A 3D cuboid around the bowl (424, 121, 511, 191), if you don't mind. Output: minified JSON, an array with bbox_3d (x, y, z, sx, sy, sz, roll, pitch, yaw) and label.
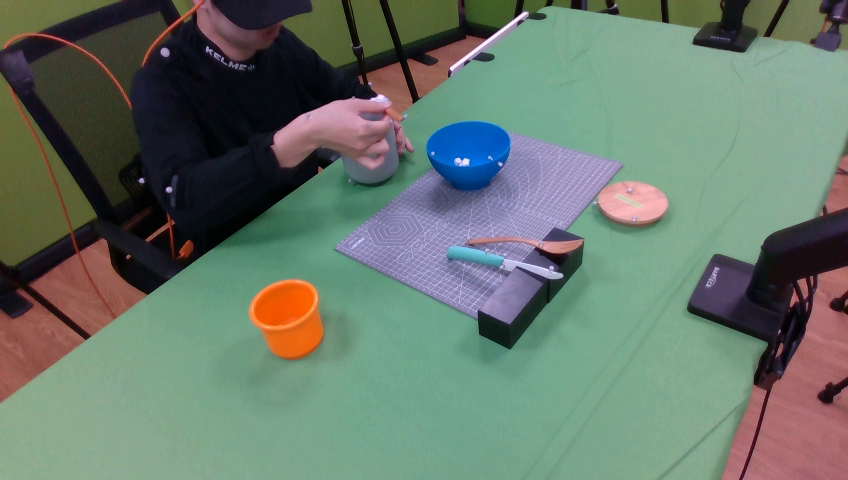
[{"bbox_3d":[0.080,-0.140,1.074,0.151,0.077,0.150,-4,40,4],"label":"bowl"}]

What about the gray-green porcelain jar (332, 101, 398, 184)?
[{"bbox_3d":[-0.104,-0.174,1.108,0.106,0.127,0.105,-4,40,4],"label":"gray-green porcelain jar"}]

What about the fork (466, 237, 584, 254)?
[{"bbox_3d":[0.142,0.005,0.894,0.205,0.019,0.028,4,43,41],"label":"fork"}]

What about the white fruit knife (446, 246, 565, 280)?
[{"bbox_3d":[0.111,0.033,0.868,0.205,0.027,0.016,11,44,40],"label":"white fruit knife"}]

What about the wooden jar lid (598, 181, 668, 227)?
[{"bbox_3d":[0.340,-0.057,0.988,0.108,0.021,0.108,-5,41,5],"label":"wooden jar lid"}]

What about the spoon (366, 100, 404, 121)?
[{"bbox_3d":[-0.062,-0.209,0.973,0.042,0.022,0.192,-16,19,-10],"label":"spoon"}]
